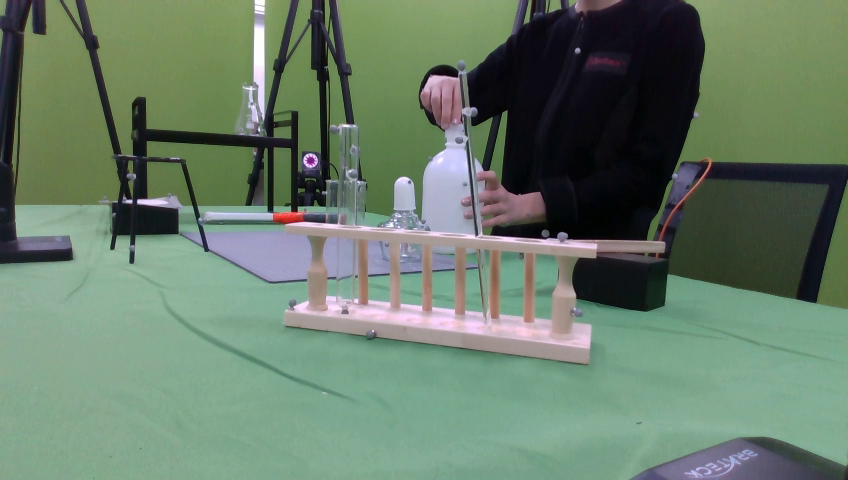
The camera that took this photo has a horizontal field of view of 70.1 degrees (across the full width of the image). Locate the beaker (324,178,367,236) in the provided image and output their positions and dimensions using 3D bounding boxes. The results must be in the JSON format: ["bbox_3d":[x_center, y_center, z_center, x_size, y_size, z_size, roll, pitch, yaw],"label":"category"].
[{"bbox_3d":[-0.139,-0.060,1.083,0.074,0.100,0.083,-3,10,-31],"label":"beaker"}]

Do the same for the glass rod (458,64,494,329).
[{"bbox_3d":[0.039,-0.029,0.450,0.008,0.199,0.008,-7,9,1],"label":"glass rod"}]

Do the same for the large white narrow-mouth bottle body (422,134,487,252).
[{"bbox_3d":[0.050,-0.082,0.962,0.102,0.194,0.102,2,8,0],"label":"large white narrow-mouth bottle body"}]

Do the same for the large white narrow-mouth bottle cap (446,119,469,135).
[{"bbox_3d":[0.052,-0.176,0.949,0.038,0.024,0.037,2,8,0],"label":"large white narrow-mouth bottle cap"}]

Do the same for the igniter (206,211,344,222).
[{"bbox_3d":[-0.302,-0.048,1.248,0.278,0.025,0.057,-2,-2,-27],"label":"igniter"}]

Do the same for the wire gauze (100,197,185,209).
[{"bbox_3d":[-0.469,-0.062,1.008,0.126,0.011,0.121,-2,8,-25],"label":"wire gauze"}]

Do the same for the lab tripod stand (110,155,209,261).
[{"bbox_3d":[-0.361,-0.046,0.806,0.148,0.131,0.148,2,5,0],"label":"lab tripod stand"}]

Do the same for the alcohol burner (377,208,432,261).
[{"bbox_3d":[-0.027,-0.031,0.838,0.078,0.119,0.078,0,6,0],"label":"alcohol burner"}]

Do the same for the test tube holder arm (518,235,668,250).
[{"bbox_3d":[0.185,0.003,0.654,0.179,0.015,0.013,1,13,-18],"label":"test tube holder arm"}]

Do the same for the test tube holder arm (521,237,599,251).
[{"bbox_3d":[0.144,0.004,0.635,0.088,0.015,0.010,0,13,-19],"label":"test tube holder arm"}]

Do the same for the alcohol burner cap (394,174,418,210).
[{"bbox_3d":[-0.026,-0.067,0.834,0.034,0.048,0.034,-1,12,0],"label":"alcohol burner cap"}]

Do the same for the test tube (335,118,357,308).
[{"bbox_3d":[-0.061,-0.019,0.476,0.017,0.150,0.017,2,10,0],"label":"test tube"}]

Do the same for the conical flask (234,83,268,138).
[{"bbox_3d":[-0.400,-0.298,1.396,0.075,0.122,0.075,2,8,0],"label":"conical flask"}]

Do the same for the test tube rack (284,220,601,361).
[{"bbox_3d":[0.013,0.032,0.482,0.242,0.085,0.067,4,7,16],"label":"test tube rack"}]
